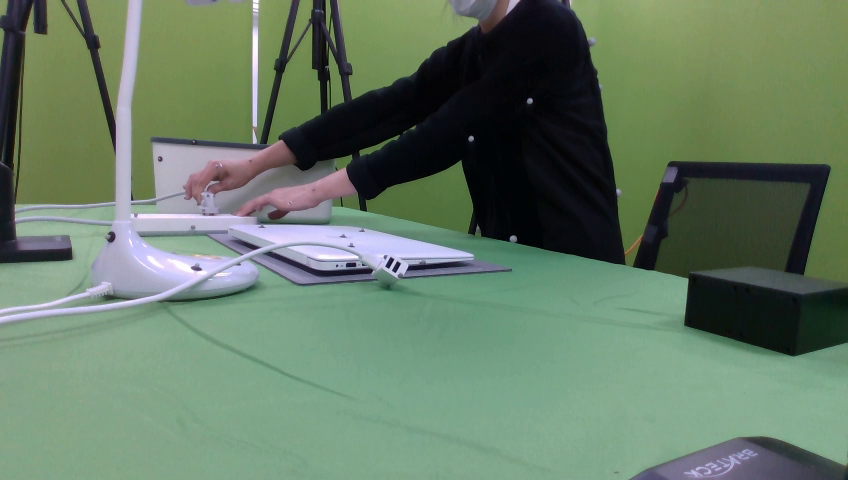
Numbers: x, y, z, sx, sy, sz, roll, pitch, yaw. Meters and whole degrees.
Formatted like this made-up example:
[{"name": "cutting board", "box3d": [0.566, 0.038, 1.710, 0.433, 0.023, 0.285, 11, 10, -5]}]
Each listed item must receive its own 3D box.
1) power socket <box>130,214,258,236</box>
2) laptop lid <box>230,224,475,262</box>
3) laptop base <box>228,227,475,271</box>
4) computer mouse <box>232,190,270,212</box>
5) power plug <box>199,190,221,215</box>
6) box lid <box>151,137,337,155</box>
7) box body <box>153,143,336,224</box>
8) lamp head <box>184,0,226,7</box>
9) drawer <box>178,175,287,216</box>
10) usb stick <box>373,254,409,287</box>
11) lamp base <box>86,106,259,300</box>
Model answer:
[{"name": "power socket", "box3d": [-0.398, -0.028, 1.048, 0.228, 0.032, 0.072, -3, 7, -34]}, {"name": "laptop lid", "box3d": [-0.119, 0.000, 0.888, 0.243, 0.013, 0.355, 1, 7, -33]}, {"name": "laptop base", "box3d": [-0.122, 0.011, 0.889, 0.237, 0.023, 0.352, 2, 6, -35]}, {"name": "computer mouse", "box3d": [-0.382, -0.086, 1.342, 0.063, 0.041, 0.117, 10, 10, -4]}, {"name": "power plug", "box3d": [-0.385, -0.060, 1.087, 0.035, 0.052, 0.072, 1, 15, -22]}, {"name": "box lid", "box3d": [-0.379, -0.203, 1.334, 0.372, 0.015, 0.262, 2, 7, -9]}, {"name": "box body", "box3d": [-0.380, -0.130, 1.344, 0.365, 0.160, 0.253, 1, 7, -9]}, {"name": "lamp head", "box3d": [-0.229, -0.320, 0.627, 0.112, 0.112, 0.123, 6, -36, 26]}, {"name": "drawer", "box3d": [-0.414, -0.103, 1.341, 0.212, 0.073, 0.194, 5, 6, -11]}, {"name": "usb stick", "box3d": [-0.038, 0.035, 0.663, 0.027, 0.021, 0.059, 28, -21, -7]}, {"name": "lamp base", "box3d": [-0.254, -0.039, 0.603, 0.160, 0.180, 0.179, 5, 10, 18]}]
